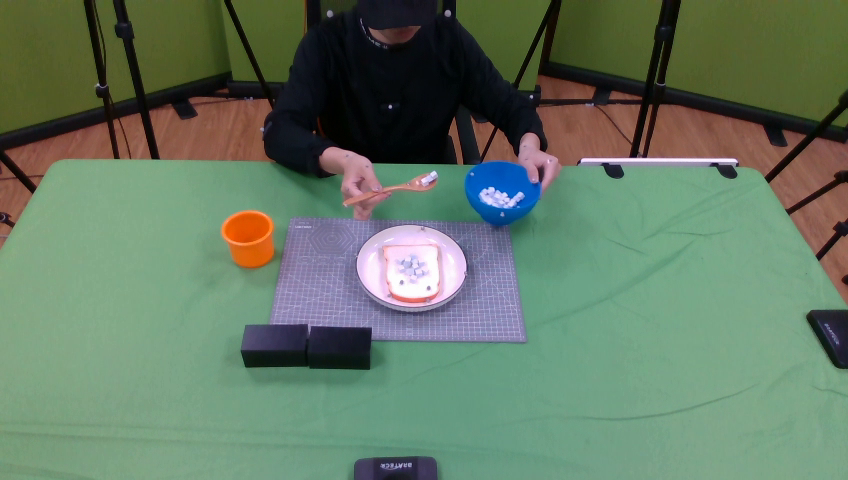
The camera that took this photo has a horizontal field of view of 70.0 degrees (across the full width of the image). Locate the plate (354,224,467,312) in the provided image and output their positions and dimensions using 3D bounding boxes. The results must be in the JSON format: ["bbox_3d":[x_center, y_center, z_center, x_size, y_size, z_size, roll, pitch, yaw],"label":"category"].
[{"bbox_3d":[-0.025,0.055,1.128,0.209,0.038,0.208,3,46,-2],"label":"plate"}]

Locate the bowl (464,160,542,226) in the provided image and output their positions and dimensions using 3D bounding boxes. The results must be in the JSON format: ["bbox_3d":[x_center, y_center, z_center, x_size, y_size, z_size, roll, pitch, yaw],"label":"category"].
[{"bbox_3d":[0.150,-0.081,1.195,0.151,0.077,0.150,2,44,-2],"label":"bowl"}]

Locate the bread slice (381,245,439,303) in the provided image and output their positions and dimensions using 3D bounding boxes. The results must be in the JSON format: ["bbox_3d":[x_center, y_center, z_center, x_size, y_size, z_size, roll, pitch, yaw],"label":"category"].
[{"bbox_3d":[-0.022,0.061,1.126,0.107,0.018,0.133,-3,45,-8],"label":"bread slice"}]

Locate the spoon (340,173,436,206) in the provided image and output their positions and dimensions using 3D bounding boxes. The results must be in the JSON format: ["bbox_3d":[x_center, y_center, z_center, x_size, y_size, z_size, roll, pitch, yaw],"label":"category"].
[{"bbox_3d":[-0.064,-0.092,1.112,0.194,0.022,0.041,-15,53,-26],"label":"spoon"}]
